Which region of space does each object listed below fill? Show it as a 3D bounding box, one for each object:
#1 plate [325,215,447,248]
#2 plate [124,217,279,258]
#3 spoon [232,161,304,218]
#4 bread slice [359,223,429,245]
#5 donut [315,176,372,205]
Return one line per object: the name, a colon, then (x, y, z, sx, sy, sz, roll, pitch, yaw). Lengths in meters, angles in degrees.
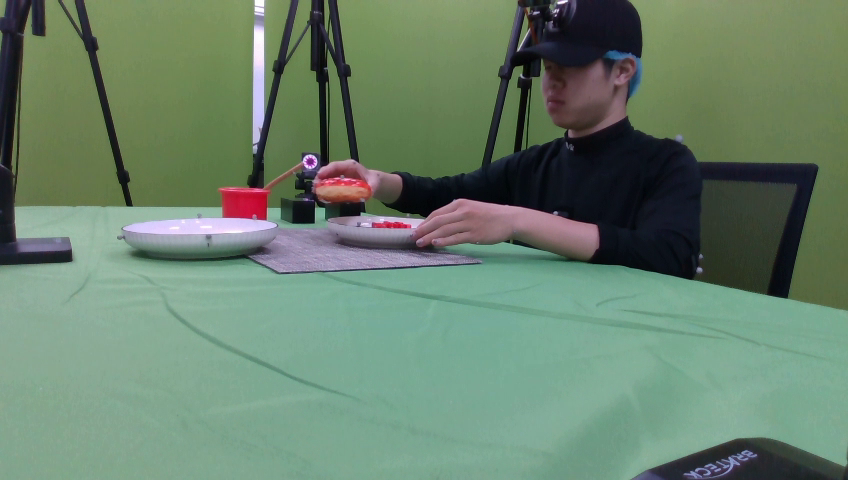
plate: (-0.065, -0.015, 1.035, 0.209, 0.038, 0.209, 3, 8, 0)
plate: (-0.315, -0.004, 0.871, 0.208, 0.039, 0.207, 1, 8, 0)
spoon: (-0.314, -0.096, 1.192, 0.194, 0.022, 0.041, -42, 12, -5)
bread slice: (-0.061, -0.012, 1.035, 0.105, 0.019, 0.131, 1, 10, -20)
donut: (-0.142, -0.087, 1.063, 0.099, 0.048, 0.099, 0, 1, 0)
